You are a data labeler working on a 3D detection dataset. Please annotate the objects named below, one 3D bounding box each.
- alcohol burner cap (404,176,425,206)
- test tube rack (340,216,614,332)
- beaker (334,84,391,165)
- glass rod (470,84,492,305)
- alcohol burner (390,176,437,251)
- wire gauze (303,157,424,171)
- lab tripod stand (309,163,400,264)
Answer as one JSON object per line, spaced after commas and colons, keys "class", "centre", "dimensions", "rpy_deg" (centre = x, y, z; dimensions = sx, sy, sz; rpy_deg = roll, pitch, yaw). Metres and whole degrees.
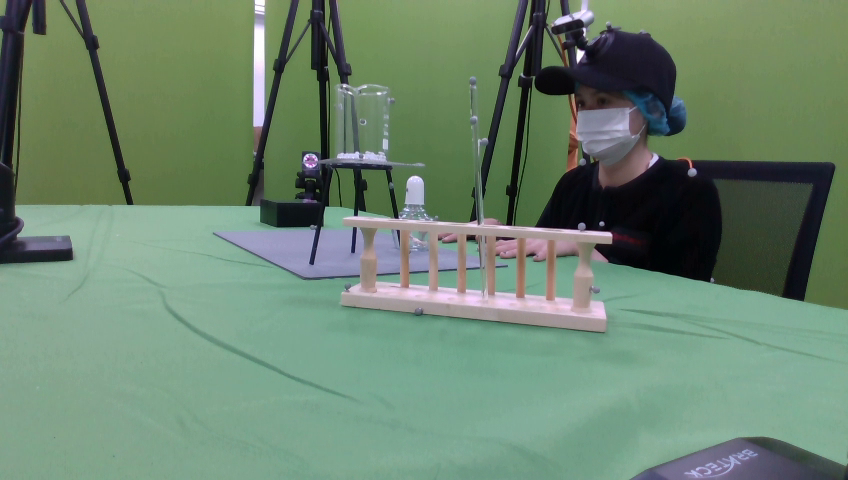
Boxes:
{"class": "alcohol burner cap", "centre": [-0.015, -0.077, 0.951], "dimensions": [0.034, 0.048, 0.034], "rpy_deg": [2, 4, 0]}
{"class": "test tube rack", "centre": [0.048, 0.026, 0.568], "dimensions": [0.242, 0.085, 0.067], "rpy_deg": [4, 8, 13]}
{"class": "beaker", "centre": [-0.082, -0.149, 0.792], "dimensions": [0.074, 0.100, 0.084], "rpy_deg": [2, 5, 5]}
{"class": "glass rod", "centre": [0.051, -0.036, 0.535], "dimensions": [0.008, 0.199, 0.008], "rpy_deg": [-5, 10, 1]}
{"class": "alcohol burner", "centre": [-0.016, -0.042, 0.955], "dimensions": [0.078, 0.119, 0.078], "rpy_deg": [4, 5, 0]}
{"class": "wire gauze", "centre": [-0.082, -0.101, 0.799], "dimensions": [0.126, 0.011, 0.121], "rpy_deg": [1, 7, -30]}
{"class": "lab tripod stand", "centre": [-0.091, -0.037, 0.813], "dimensions": [0.148, 0.131, 0.148], "rpy_deg": [1, 6, 0]}
